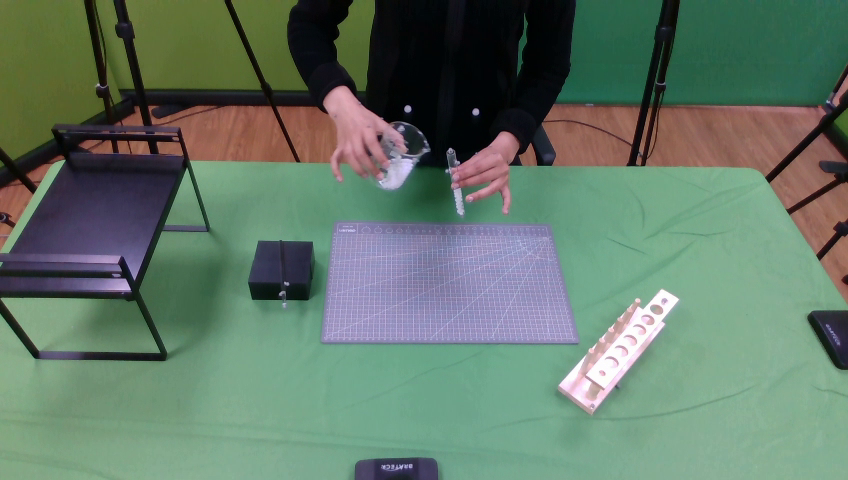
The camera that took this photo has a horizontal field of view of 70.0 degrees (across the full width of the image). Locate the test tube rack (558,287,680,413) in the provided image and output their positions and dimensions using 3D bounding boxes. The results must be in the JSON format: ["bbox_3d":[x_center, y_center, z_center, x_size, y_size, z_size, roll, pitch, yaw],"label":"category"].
[{"bbox_3d":[0.326,0.170,1.009,0.066,0.085,0.242,36,54,26],"label":"test tube rack"}]

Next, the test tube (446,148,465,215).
[{"bbox_3d":[0.057,-0.100,1.067,0.017,0.151,0.017,-6,46,7],"label":"test tube"}]

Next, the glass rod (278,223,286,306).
[{"bbox_3d":[-0.254,0.039,1.081,0.008,0.008,0.198,-6,47,-10],"label":"glass rod"}]

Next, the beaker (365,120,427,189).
[{"bbox_3d":[-0.049,-0.138,1.008,0.084,0.100,0.073,14,52,-17],"label":"beaker"}]
